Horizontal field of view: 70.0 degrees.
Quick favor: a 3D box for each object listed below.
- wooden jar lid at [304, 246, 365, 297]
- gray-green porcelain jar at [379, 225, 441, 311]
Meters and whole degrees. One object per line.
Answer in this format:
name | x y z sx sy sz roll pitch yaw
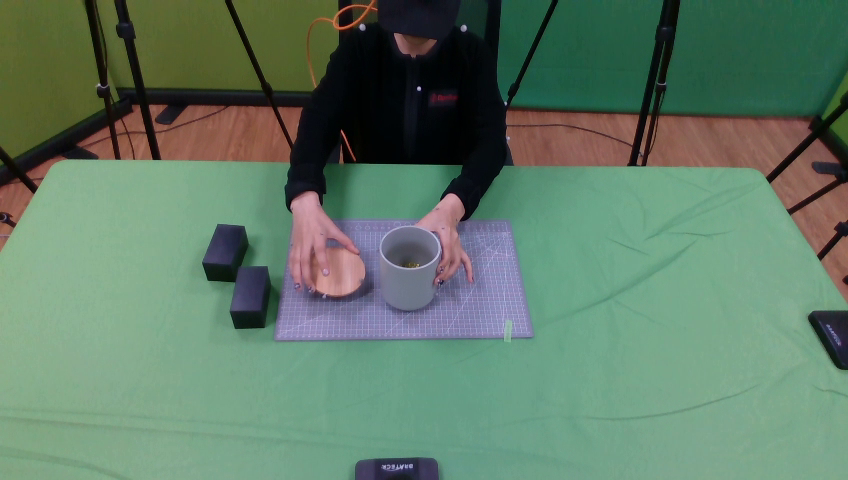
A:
wooden jar lid | -0.161 0.059 1.095 0.108 0.021 0.107 7 53 -10
gray-green porcelain jar | -0.027 0.054 1.067 0.106 0.127 0.105 2 46 -2
